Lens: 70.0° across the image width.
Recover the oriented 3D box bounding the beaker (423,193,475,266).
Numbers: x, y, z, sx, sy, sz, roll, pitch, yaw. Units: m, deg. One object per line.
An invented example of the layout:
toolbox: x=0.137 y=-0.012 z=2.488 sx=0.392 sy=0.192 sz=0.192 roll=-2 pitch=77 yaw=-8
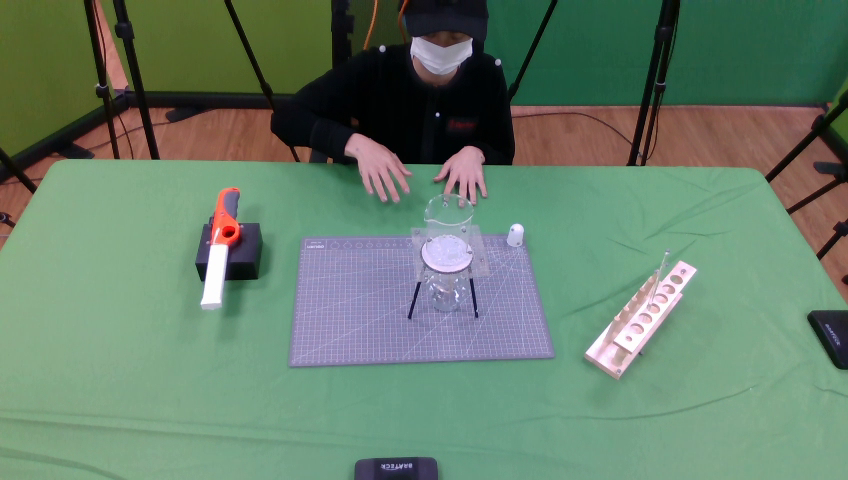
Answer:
beaker: x=0.036 y=-0.013 z=0.974 sx=0.084 sy=0.101 sz=0.073 roll=-18 pitch=48 yaw=-20

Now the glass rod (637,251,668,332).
glass rod: x=0.378 y=0.090 z=1.005 sx=0.008 sy=0.201 sz=0.008 roll=-1 pitch=44 yaw=1

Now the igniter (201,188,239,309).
igniter: x=-0.367 y=0.006 z=1.095 sx=0.057 sy=0.025 sz=0.274 roll=-2 pitch=49 yaw=-7

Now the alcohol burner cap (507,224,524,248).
alcohol burner cap: x=0.183 y=-0.010 z=1.206 sx=0.034 sy=0.048 sz=0.033 roll=1 pitch=45 yaw=0

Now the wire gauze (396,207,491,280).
wire gauze: x=0.032 y=0.006 z=1.001 sx=0.125 sy=0.011 sz=0.120 roll=-20 pitch=52 yaw=-16

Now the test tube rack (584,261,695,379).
test tube rack: x=0.380 y=0.127 z=1.062 sx=0.066 sy=0.085 sz=0.242 roll=34 pitch=53 yaw=26

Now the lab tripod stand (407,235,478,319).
lab tripod stand: x=0.032 y=0.065 z=1.057 sx=0.148 sy=0.132 sz=0.147 roll=1 pitch=45 yaw=-1

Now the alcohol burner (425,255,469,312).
alcohol burner: x=0.041 y=0.072 z=1.065 sx=0.078 sy=0.120 sz=0.077 roll=1 pitch=46 yaw=-1
